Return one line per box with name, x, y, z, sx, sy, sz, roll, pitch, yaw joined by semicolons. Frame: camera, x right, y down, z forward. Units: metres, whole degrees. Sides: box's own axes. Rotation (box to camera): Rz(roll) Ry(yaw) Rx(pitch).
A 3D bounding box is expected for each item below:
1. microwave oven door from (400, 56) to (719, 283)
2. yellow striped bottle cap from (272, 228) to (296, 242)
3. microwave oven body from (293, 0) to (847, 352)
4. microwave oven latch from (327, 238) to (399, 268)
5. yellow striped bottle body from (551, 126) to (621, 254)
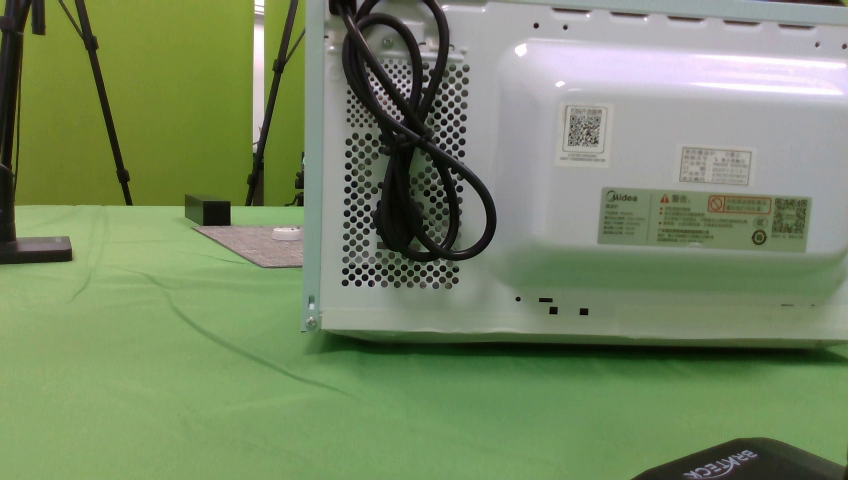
microwave oven door;0.155;-0.077;0.698;0.356;0.243;0.039;2;8;-5
yellow striped bottle cap;-0.232;-0.008;1.012;0.044;0.018;0.044;4;8;0
microwave oven body;0.122;-0.055;0.550;0.442;0.260;0.325;3;7;-5
microwave oven latch;-0.069;0.015;0.694;0.079;0.029;0.030;3;7;-3
yellow striped bottle body;0.157;-0.049;0.586;0.063;0.120;0.063;0;7;0
